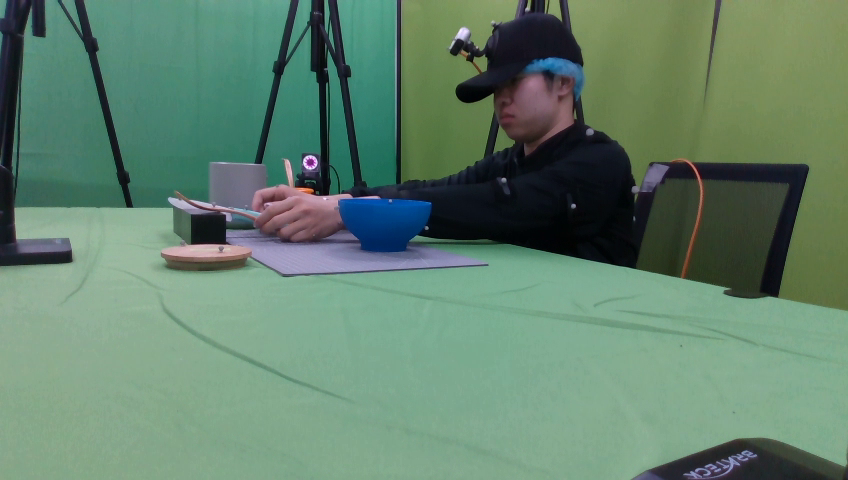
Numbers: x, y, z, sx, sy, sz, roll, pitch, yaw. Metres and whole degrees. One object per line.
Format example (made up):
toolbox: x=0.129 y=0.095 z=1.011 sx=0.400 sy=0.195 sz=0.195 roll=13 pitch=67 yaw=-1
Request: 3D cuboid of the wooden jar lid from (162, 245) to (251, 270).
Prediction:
wooden jar lid: x=-0.278 y=0.022 z=0.777 sx=0.108 sy=0.020 sz=0.108 roll=2 pitch=6 yaw=0

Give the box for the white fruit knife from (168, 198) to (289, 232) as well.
white fruit knife: x=-0.329 y=-0.044 z=1.036 sx=0.208 sy=0.027 sz=0.016 roll=14 pitch=0 yaw=-32

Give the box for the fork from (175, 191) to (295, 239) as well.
fork: x=-0.305 y=-0.039 z=0.993 sx=0.208 sy=0.018 sz=0.028 roll=20 pitch=-14 yaw=-34

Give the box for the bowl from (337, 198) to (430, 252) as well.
bowl: x=-0.066 y=-0.024 z=0.967 sx=0.151 sy=0.077 sz=0.151 roll=3 pitch=7 yaw=0

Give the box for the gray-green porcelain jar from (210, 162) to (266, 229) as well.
gray-green porcelain jar: x=-0.367 y=-0.088 z=1.194 sx=0.106 sy=0.126 sz=0.106 roll=2 pitch=7 yaw=0

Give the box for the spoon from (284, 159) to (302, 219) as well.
spoon: x=-0.302 y=-0.118 z=1.370 sx=0.042 sy=0.193 sz=0.021 roll=4 pitch=-39 yaw=-24
